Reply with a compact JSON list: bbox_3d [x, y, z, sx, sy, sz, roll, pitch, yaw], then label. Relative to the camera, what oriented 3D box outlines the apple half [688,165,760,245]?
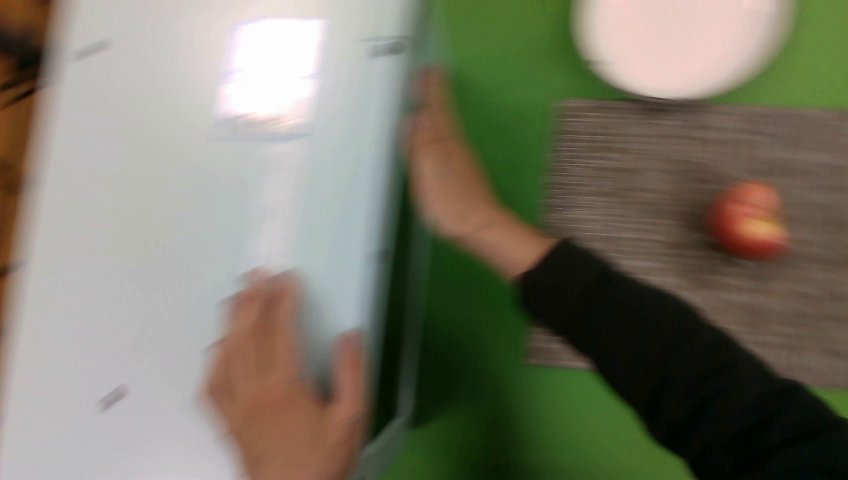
[{"bbox_3d":[0.301,-0.031,0.623,0.053,0.075,0.080,-18,88,12],"label":"apple half"}]

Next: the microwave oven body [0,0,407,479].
[{"bbox_3d":[-0.195,-0.011,0.598,0.325,0.261,0.441,1,88,8],"label":"microwave oven body"}]

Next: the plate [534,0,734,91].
[{"bbox_3d":[0.226,-0.263,0.667,0.207,0.039,0.207,0,87,8],"label":"plate"}]

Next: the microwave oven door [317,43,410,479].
[{"bbox_3d":[-0.051,0.032,0.570,0.039,0.244,0.355,0,87,9],"label":"microwave oven door"}]

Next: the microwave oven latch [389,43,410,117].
[{"bbox_3d":[-0.030,-0.180,0.680,0.030,0.029,0.079,1,88,8],"label":"microwave oven latch"}]
